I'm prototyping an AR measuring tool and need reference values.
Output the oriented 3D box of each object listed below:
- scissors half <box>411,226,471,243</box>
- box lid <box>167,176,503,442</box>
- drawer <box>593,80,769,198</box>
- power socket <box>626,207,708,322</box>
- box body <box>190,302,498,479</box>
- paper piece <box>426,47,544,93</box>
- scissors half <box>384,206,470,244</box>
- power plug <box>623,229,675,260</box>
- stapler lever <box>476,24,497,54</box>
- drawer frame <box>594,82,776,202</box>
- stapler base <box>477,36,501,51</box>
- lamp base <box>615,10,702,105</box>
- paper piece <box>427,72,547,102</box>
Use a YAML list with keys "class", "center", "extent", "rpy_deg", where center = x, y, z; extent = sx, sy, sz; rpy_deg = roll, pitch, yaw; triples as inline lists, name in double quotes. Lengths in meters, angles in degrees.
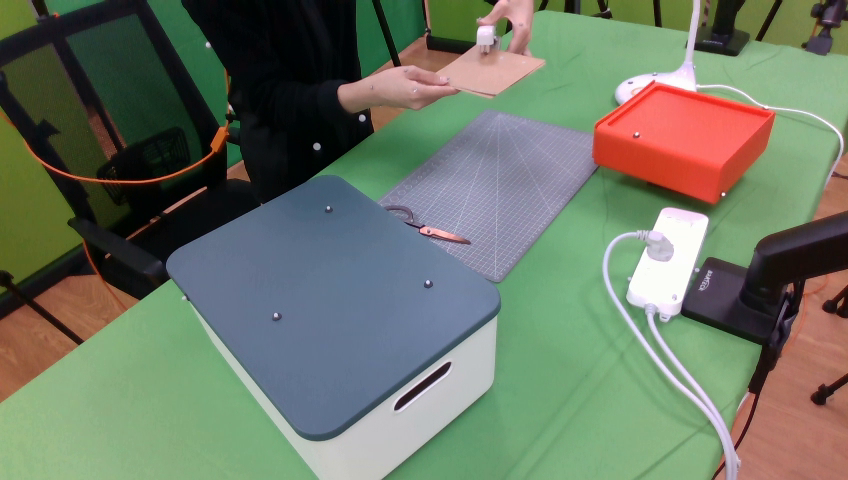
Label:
- class: "scissors half"
  center: [-0.007, -0.010, 0.993]
  extent: [0.174, 0.013, 0.040]
  rpy_deg: [8, 46, 15]
- class: "box lid"
  center: [-0.119, 0.047, 0.714]
  extent: [0.264, 0.015, 0.368]
  rpy_deg: [-32, 47, -27]
- class: "drawer"
  center: [0.423, -0.175, 1.007]
  extent: [0.210, 0.073, 0.195]
  rpy_deg: [30, 52, 35]
- class: "power socket"
  center: [0.360, 0.026, 0.886]
  extent: [0.072, 0.033, 0.227]
  rpy_deg: [16, 46, 26]
- class: "box body"
  center: [-0.110, 0.103, 0.761]
  extent: [0.255, 0.161, 0.361]
  rpy_deg: [-33, 46, -27]
- class: "paper piece"
  center: [0.097, -0.267, 0.943]
  extent: [0.137, 0.009, 0.136]
  rpy_deg: [24, 46, 34]
- class: "scissors half"
  center: [0.001, -0.024, 1.005]
  extent: [0.174, 0.013, 0.040]
  rpy_deg: [22, 57, 25]
- class: "power plug"
  center: [0.327, 0.007, 0.878]
  extent: [0.072, 0.053, 0.035]
  rpy_deg: [25, 51, 33]
- class: "stapler lever"
  center: [0.105, -0.346, 1.008]
  extent: [0.027, 0.040, 0.118]
  rpy_deg: [4, 37, 8]
- class: "drawer frame"
  center: [0.428, -0.171, 1.006]
  extent: [0.211, 0.083, 0.202]
  rpy_deg: [29, 51, 36]
- class: "stapler base"
  center: [0.107, -0.325, 1.022]
  extent: [0.041, 0.024, 0.130]
  rpy_deg: [4, 37, 8]
- class: "lamp base"
  center: [0.484, -0.364, 1.211]
  extent: [0.180, 0.181, 0.159]
  rpy_deg: [-15, 41, -14]
- class: "paper piece"
  center: [0.098, -0.252, 0.944]
  extent: [0.136, 0.004, 0.134]
  rpy_deg: [-29, 43, -33]
